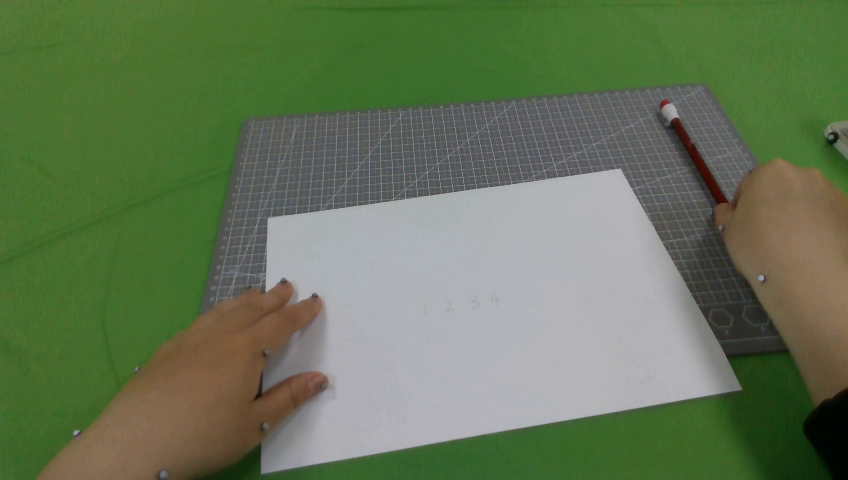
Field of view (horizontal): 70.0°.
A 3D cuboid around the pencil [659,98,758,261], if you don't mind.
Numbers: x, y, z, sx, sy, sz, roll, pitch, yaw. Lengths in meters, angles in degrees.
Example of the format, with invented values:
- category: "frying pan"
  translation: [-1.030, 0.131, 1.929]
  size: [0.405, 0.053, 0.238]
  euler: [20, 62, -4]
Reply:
- category: "pencil"
  translation: [0.231, -0.057, 0.499]
  size: [0.012, 0.012, 0.192]
  euler: [-6, 49, -2]

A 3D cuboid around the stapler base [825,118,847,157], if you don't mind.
- category: "stapler base"
  translation: [0.382, -0.064, 0.492]
  size: [0.041, 0.025, 0.129]
  euler: [-10, 50, -2]
